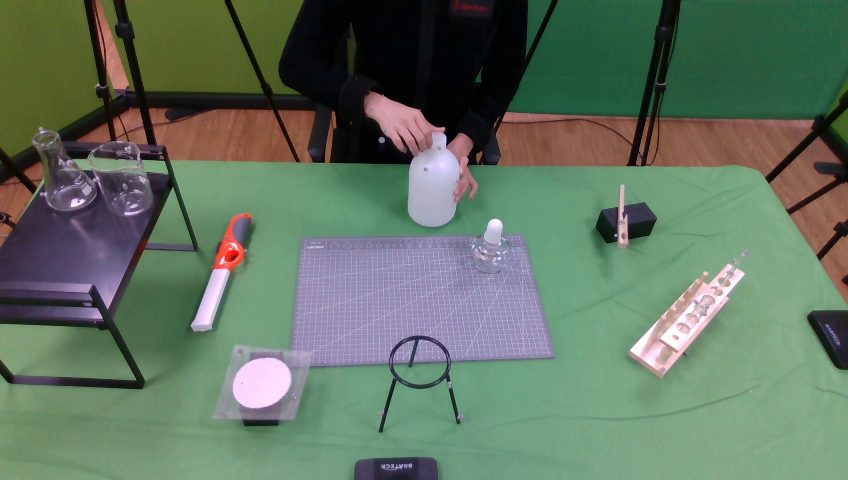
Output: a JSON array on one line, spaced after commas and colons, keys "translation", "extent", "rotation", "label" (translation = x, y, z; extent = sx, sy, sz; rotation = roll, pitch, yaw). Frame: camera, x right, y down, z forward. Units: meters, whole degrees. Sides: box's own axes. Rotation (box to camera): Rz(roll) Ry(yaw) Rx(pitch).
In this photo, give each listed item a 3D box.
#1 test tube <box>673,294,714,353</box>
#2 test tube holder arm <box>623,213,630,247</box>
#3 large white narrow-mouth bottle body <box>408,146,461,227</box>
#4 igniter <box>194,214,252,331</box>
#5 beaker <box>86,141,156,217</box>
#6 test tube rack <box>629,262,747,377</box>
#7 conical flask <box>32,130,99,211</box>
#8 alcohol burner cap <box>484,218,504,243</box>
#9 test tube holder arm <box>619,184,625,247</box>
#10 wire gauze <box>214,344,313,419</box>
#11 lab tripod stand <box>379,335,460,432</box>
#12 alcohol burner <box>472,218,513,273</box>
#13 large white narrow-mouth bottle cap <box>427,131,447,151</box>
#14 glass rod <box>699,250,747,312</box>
[{"translation": [0.428, 0.137, 0.978], "extent": [0.017, 0.151, 0.017], "rotation": [4, 47, -4], "label": "test tube"}, {"translation": [0.393, -0.020, 1.179], "extent": [0.010, 0.015, 0.087], "rotation": [13, 46, 2], "label": "test tube holder arm"}, {"translation": [0.022, -0.124, 1.198], "extent": [0.102, 0.195, 0.101], "rotation": [2, 47, -2], "label": "large white narrow-mouth bottle body"}, {"translation": [-0.367, 0.050, 1.119], "extent": [0.057, 0.025, 0.275], "rotation": [-4, 46, 7], "label": "igniter"}, {"translation": [-0.467, -0.092, 0.950], "extent": [0.084, 0.101, 0.073], "rotation": [15, 47, 11], "label": "beaker"}, {"translation": [0.464, 0.126, 1.061], "extent": [0.242, 0.085, 0.066], "rotation": [-34, 56, -31], "label": "test tube rack"}, {"translation": [-0.565, -0.110, 0.944], "extent": [0.075, 0.122, 0.075], "rotation": [2, 46, -2], "label": "conical flask"}, {"translation": [0.130, -0.021, 1.106], "extent": [0.034, 0.048, 0.033], "rotation": [3, 51, -4], "label": "alcohol burner cap"}, {"translation": [0.396, -0.053, 1.210], "extent": [0.013, 0.015, 0.177], "rotation": [14, 46, 2], "label": "test tube holder arm"}, {"translation": [-0.241, 0.213, 0.916], "extent": [0.121, 0.011, 0.124], "rotation": [5, 46, 1], "label": "wire gauze"}, {"translation": [-0.011, 0.214, 0.912], "extent": [0.148, 0.132, 0.147], "rotation": [1, 45, 0], "label": "lab tripod stand"}, {"translation": [0.128, 0.005, 1.132], "extent": [0.078, 0.120, 0.077], "rotation": [0, 47, 0], "label": "alcohol burner"}, {"translation": [0.025, -0.184, 1.133], "extent": [0.038, 0.024, 0.037], "rotation": [2, 47, -2], "label": "large white narrow-mouth bottle cap"}, {"translation": [0.500, 0.075, 1.021], "extent": [0.008, 0.201, 0.008], "rotation": [0, 55, 0], "label": "glass rod"}]
